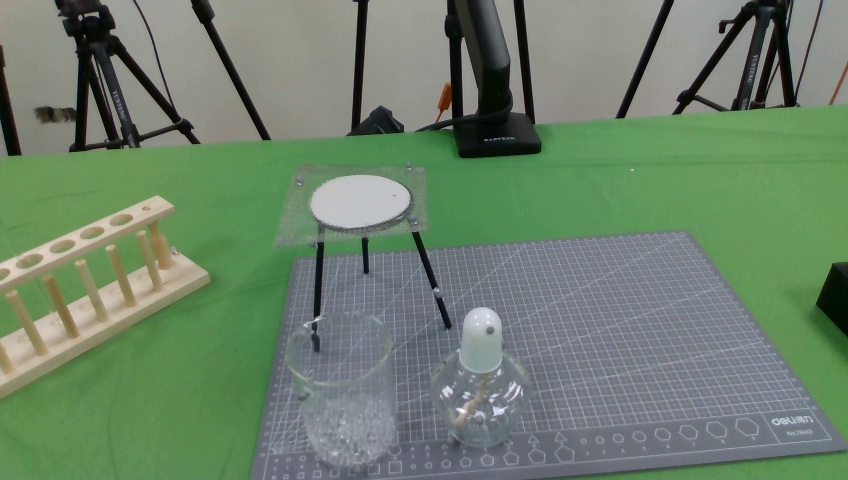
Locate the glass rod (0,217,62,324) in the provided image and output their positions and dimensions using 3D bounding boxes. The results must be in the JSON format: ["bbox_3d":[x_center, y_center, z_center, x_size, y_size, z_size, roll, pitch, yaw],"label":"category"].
[{"bbox_3d":[-0.370,-0.002,0.538,0.008,0.201,0.008,-6,32,4],"label":"glass rod"}]

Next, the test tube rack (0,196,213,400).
[{"bbox_3d":[-0.333,0.053,0.574,0.066,0.086,0.242,26,44,35],"label":"test tube rack"}]

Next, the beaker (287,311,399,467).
[{"bbox_3d":[-0.058,0.113,0.453,0.083,0.101,0.074,24,43,34],"label":"beaker"}]

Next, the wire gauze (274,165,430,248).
[{"bbox_3d":[-0.057,-0.034,0.516,0.121,0.011,0.124,-2,36,-1],"label":"wire gauze"}]

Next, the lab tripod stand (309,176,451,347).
[{"bbox_3d":[-0.046,0.018,0.557,0.148,0.132,0.147,0,34,1],"label":"lab tripod stand"}]

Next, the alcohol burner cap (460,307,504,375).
[{"bbox_3d":[0.043,0.069,0.434,0.034,0.048,0.033,0,37,0],"label":"alcohol burner cap"}]

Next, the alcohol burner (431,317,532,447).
[{"bbox_3d":[0.043,0.099,0.454,0.078,0.120,0.077,-1,37,1],"label":"alcohol burner"}]
